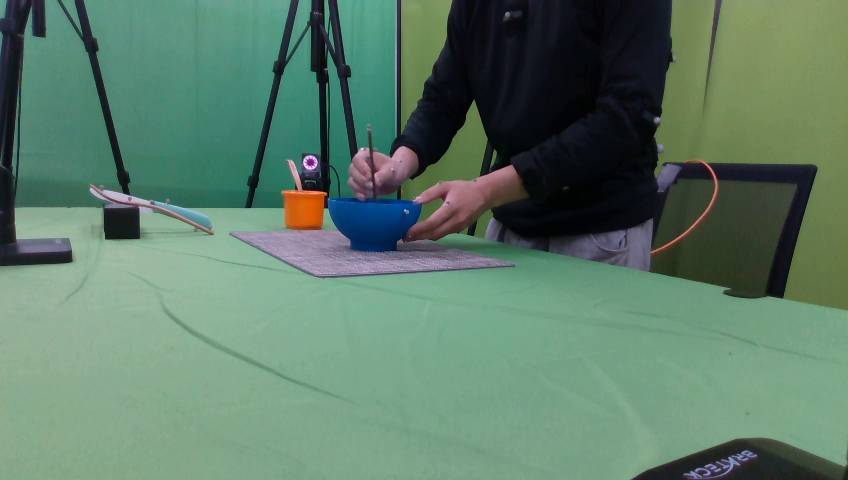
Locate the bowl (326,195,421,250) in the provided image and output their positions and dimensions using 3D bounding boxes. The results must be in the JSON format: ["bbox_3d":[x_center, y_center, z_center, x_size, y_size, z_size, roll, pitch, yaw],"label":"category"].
[{"bbox_3d":[-0.080,-0.027,0.958,0.151,0.077,0.151,3,7,0],"label":"bowl"}]

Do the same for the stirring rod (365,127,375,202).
[{"bbox_3d":[-0.082,-0.091,0.947,0.006,0.176,0.014,-9,28,-13],"label":"stirring rod"}]

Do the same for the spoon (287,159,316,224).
[{"bbox_3d":[-0.261,-0.104,1.264,0.042,0.193,0.021,-1,-37,-28],"label":"spoon"}]

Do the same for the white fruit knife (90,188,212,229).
[{"bbox_3d":[-0.478,-0.058,1.073,0.208,0.027,0.016,17,-4,-30],"label":"white fruit knife"}]

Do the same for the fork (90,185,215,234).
[{"bbox_3d":[-0.452,-0.049,1.018,0.208,0.018,0.028,21,-7,-33],"label":"fork"}]
